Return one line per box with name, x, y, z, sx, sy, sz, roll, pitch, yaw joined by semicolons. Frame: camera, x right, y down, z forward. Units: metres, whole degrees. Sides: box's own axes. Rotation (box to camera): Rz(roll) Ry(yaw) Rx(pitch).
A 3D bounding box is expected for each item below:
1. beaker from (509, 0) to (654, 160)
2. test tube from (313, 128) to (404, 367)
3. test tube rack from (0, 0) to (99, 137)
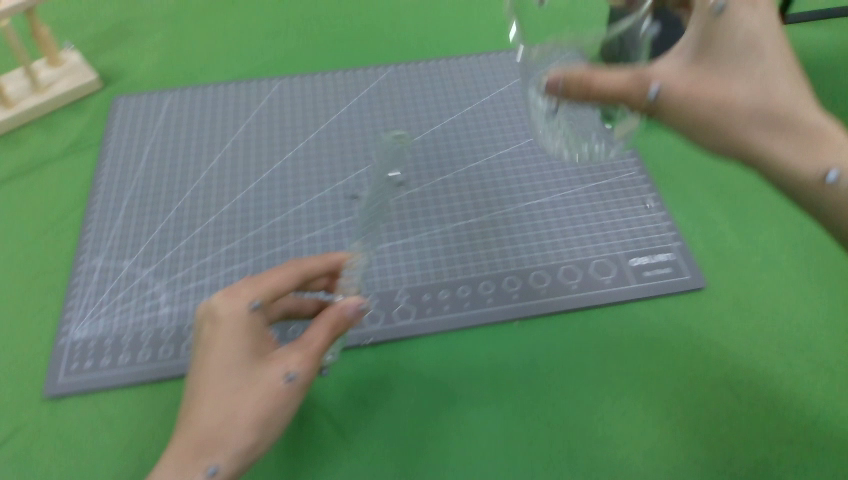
beaker;0.086;-0.098;0.334;0.073;0.101;0.084;34;71;32
test tube;-0.039;0.010;0.337;0.017;0.151;0.017;16;24;-7
test tube rack;-0.422;-0.121;0.510;0.242;0.086;0.066;-36;60;-24
